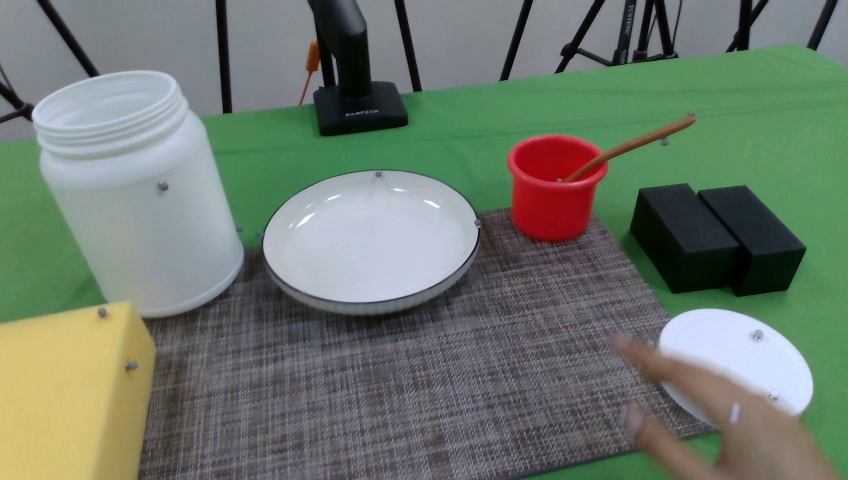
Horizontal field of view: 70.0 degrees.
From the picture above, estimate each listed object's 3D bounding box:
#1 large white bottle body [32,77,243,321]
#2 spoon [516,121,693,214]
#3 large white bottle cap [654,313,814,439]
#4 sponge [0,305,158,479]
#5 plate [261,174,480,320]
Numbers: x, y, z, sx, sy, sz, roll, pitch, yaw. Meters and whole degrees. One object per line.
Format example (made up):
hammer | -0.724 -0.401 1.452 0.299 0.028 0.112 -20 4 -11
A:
large white bottle body | -0.244 -0.035 0.532 0.130 0.186 0.129 -3 37 2
spoon | 0.167 -0.068 0.588 0.022 0.193 0.041 48 44 -12
large white bottle cap | 0.241 0.103 0.476 0.115 0.018 0.113 1 39 0
sponge | -0.262 0.144 0.412 0.118 0.061 0.204 -11 39 -8
plate | -0.050 0.006 0.590 0.209 0.038 0.207 -1 38 1
